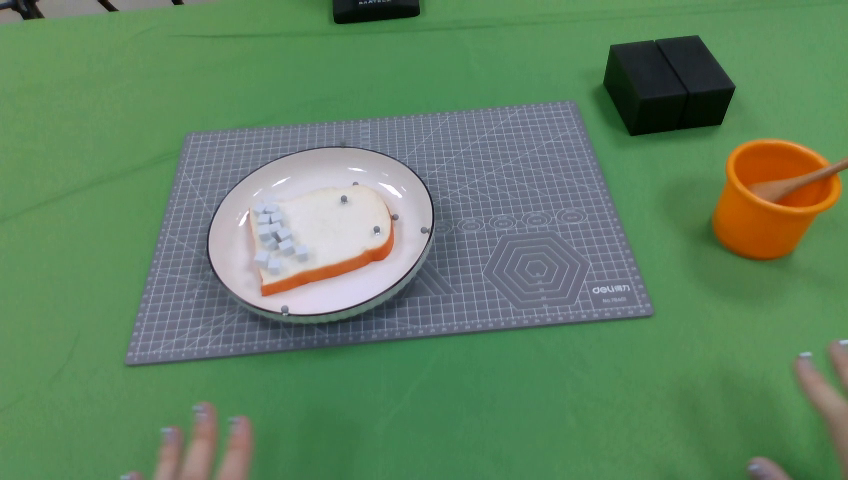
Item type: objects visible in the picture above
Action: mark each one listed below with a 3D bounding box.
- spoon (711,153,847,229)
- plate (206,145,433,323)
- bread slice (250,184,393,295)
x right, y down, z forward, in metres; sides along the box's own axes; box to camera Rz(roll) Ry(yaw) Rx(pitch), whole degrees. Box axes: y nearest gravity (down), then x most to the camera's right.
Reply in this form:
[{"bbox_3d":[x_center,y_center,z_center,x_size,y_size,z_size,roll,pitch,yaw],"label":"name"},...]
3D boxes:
[{"bbox_3d":[0.336,-0.061,0.513,0.193,0.022,0.041,-29,39,33],"label":"spoon"},{"bbox_3d":[-0.094,-0.007,0.567,0.209,0.038,0.207,-1,50,2],"label":"plate"},{"bbox_3d":[-0.097,-0.010,0.573,0.132,0.019,0.103,-17,52,-9],"label":"bread slice"}]
